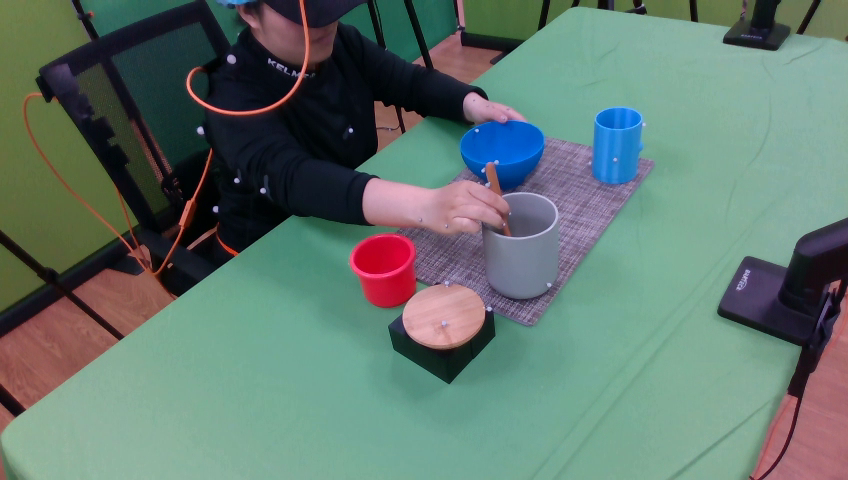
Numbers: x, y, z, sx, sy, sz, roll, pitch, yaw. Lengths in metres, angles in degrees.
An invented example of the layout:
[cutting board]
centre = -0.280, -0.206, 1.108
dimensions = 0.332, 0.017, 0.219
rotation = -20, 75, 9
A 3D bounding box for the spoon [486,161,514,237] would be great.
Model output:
[spoon]
centre = 0.111, -0.022, 0.823
dimensions = 0.041, 0.194, 0.021
rotation = -12, 28, 15

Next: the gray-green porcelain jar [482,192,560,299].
[gray-green porcelain jar]
centre = 0.139, 0.012, 0.858
dimensions = 0.106, 0.127, 0.105
rotation = -6, 40, 5

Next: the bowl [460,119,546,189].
[bowl]
centre = 0.143, -0.145, 1.081
dimensions = 0.151, 0.077, 0.150
rotation = -5, 40, 5

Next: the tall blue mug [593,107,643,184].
[tall blue mug]
centre = 0.330, -0.172, 1.052
dimensions = 0.078, 0.108, 0.106
rotation = -12, 40, 0

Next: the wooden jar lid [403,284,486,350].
[wooden jar lid]
centre = 0.027, 0.101, 0.786
dimensions = 0.108, 0.021, 0.108
rotation = -5, 39, 5
